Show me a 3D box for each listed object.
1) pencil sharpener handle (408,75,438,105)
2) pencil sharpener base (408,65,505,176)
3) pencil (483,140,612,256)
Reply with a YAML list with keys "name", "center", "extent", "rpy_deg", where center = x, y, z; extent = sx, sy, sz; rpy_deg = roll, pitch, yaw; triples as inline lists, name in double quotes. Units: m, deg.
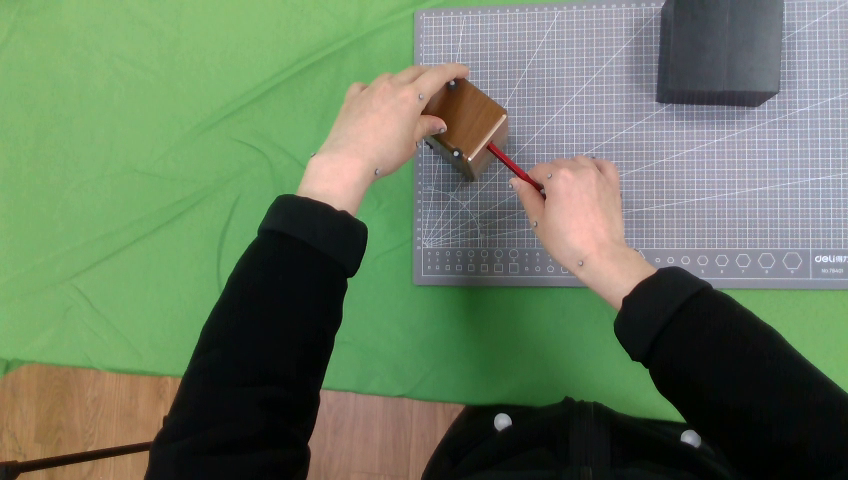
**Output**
- name: "pencil sharpener handle"
  center: [-0.006, -0.150, 0.590]
  extent: [0.030, 0.068, 0.036]
  rpy_deg: [41, 97, 8]
- name: "pencil sharpener base"
  center: [0.033, -0.115, 0.596]
  extent: [0.076, 0.107, 0.061]
  rpy_deg: [41, 93, 7]
- name: "pencil"
  center: [0.098, -0.053, 0.561]
  extent: [0.193, 0.012, 0.012]
  rpy_deg: [43, 93, 5]
